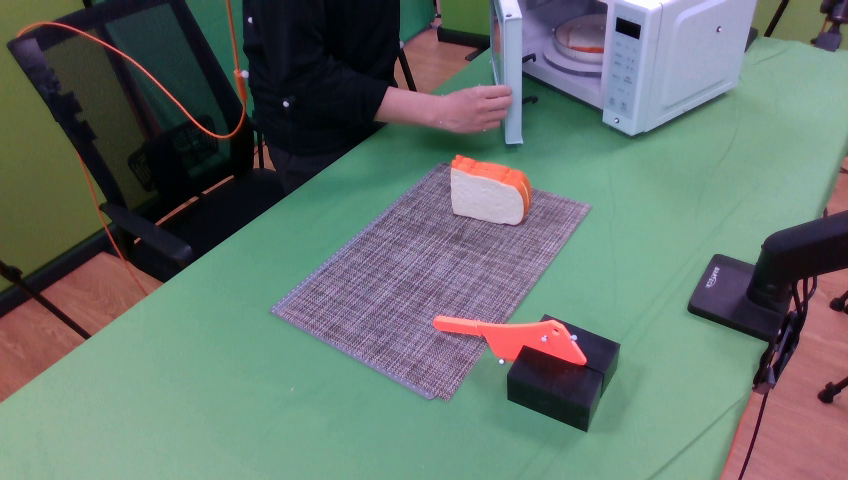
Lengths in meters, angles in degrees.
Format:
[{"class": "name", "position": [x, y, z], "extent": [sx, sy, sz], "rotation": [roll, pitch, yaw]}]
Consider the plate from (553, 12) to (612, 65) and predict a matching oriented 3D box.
[{"class": "plate", "position": [0.384, -0.430, 1.307], "extent": [0.207, 0.039, 0.206], "rotation": [-5, 43, 5]}]

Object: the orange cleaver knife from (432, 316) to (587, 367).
[{"class": "orange cleaver knife", "position": [0.101, 0.127, 0.761], "extent": [0.210, 0.077, 0.012], "rotation": [-1, 34, 40]}]

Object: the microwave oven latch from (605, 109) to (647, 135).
[{"class": "microwave oven latch", "position": [0.379, -0.225, 1.139], "extent": [0.030, 0.029, 0.078], "rotation": [-26, 43, -19]}]

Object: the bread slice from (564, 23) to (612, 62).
[{"class": "bread slice", "position": [0.360, -0.431, 1.320], "extent": [0.107, 0.018, 0.134], "rotation": [3, 50, 11]}]

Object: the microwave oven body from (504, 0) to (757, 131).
[{"class": "microwave oven body", "position": [0.396, -0.448, 1.248], "extent": [0.327, 0.261, 0.437], "rotation": [-27, 44, -21]}]

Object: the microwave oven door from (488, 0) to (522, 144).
[{"class": "microwave oven door", "position": [0.159, -0.387, 1.204], "extent": [0.039, 0.245, 0.354], "rotation": [-4, 41, 3]}]
